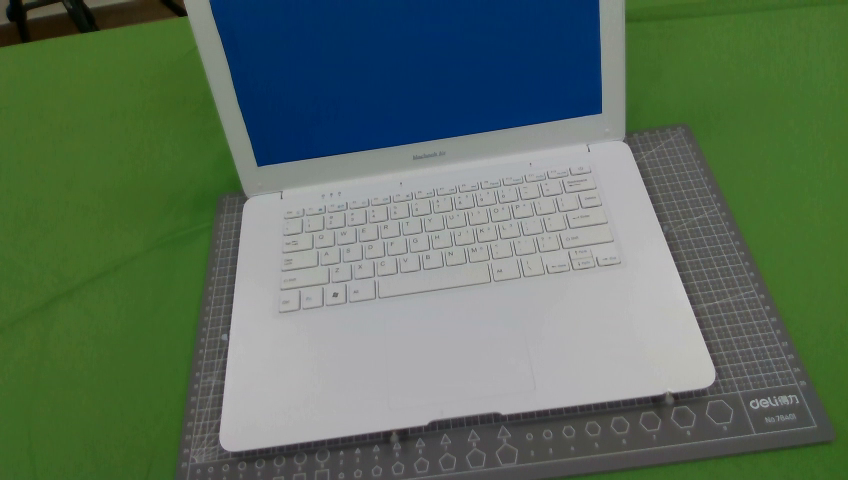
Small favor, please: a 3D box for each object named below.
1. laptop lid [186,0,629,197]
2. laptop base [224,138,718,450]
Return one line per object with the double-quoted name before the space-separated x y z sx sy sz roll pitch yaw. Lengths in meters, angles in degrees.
"laptop lid" -0.007 -0.164 0.505 0.356 0.243 0.013 -10 27 3
"laptop base" 0.021 0.033 0.491 0.354 0.023 0.233 -9 58 3
